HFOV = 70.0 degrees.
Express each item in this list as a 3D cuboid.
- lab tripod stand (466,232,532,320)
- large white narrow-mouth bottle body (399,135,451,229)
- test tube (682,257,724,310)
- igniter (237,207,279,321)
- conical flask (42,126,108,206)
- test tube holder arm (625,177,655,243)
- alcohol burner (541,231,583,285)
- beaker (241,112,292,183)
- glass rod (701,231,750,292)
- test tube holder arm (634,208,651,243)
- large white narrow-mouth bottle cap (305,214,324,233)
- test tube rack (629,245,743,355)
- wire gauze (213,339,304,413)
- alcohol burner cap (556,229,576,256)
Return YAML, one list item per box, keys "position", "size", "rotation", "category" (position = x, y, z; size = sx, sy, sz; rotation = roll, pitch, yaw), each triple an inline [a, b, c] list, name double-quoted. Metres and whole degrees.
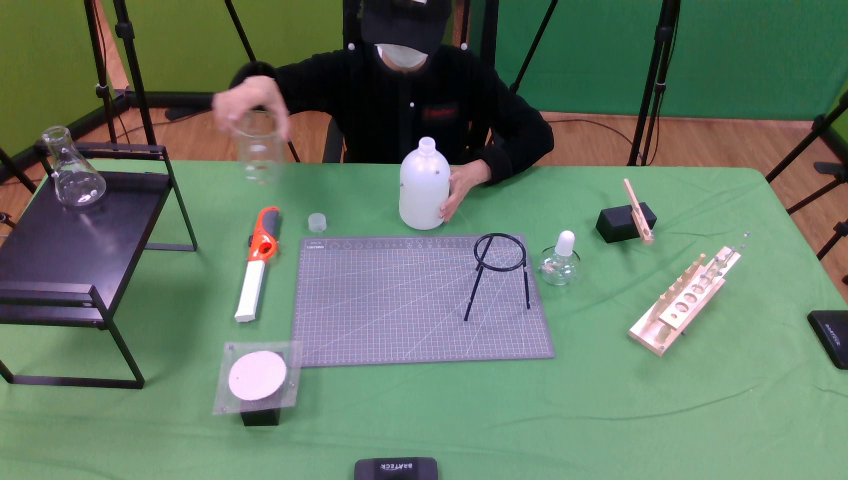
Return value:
- position: [0.124, 0.059, 1.065]
  size: [0.148, 0.132, 0.147]
  rotation: [1, 45, 0]
  category: "lab tripod stand"
- position: [0.002, -0.119, 1.191]
  size: [0.102, 0.195, 0.101]
  rotation: [2, 46, -2]
  category: "large white narrow-mouth bottle body"
- position: [0.475, 0.080, 1.037]
  size: [0.017, 0.151, 0.017]
  rotation: [2, 51, -2]
  category: "test tube"
- position: [-0.309, 0.036, 1.136]
  size: [0.057, 0.025, 0.274]
  rotation: [-7, 45, 5]
  category: "igniter"
- position: [-0.555, -0.119, 0.953]
  size: [0.075, 0.122, 0.075]
  rotation: [2, 46, -2]
  category: "conical flask"
- position: [0.433, -0.063, 1.220]
  size: [0.013, 0.015, 0.177]
  rotation: [1, 47, -3]
  category: "test tube holder arm"
- position: [0.258, 0.028, 1.123]
  size: [0.078, 0.120, 0.077]
  rotation: [1, 48, -1]
  category: "alcohol burner"
- position: [-0.259, -0.153, 1.013]
  size: [0.084, 0.101, 0.073]
  rotation: [-23, 53, -29]
  category: "beaker"
- position: [0.519, 0.045, 1.050]
  size: [0.008, 0.201, 0.008]
  rotation: [0, 55, 0]
  category: "glass rod"
- position: [0.428, -0.030, 1.189]
  size: [0.010, 0.015, 0.087]
  rotation: [1, 47, -2]
  category: "test tube holder arm"
- position: [-0.219, -0.033, 1.214]
  size: [0.038, 0.024, 0.037]
  rotation: [2, 46, -2]
  category: "large white narrow-mouth bottle cap"
- position: [0.474, 0.095, 1.091]
  size: [0.242, 0.085, 0.066]
  rotation: [-34, 56, -31]
  category: "test tube rack"
- position: [-0.250, 0.203, 0.925]
  size: [0.121, 0.011, 0.124]
  rotation: [-1, 46, -3]
  category: "wire gauze"
- position: [0.260, 0.002, 1.098]
  size: [0.034, 0.048, 0.033]
  rotation: [3, 40, -2]
  category: "alcohol burner cap"
